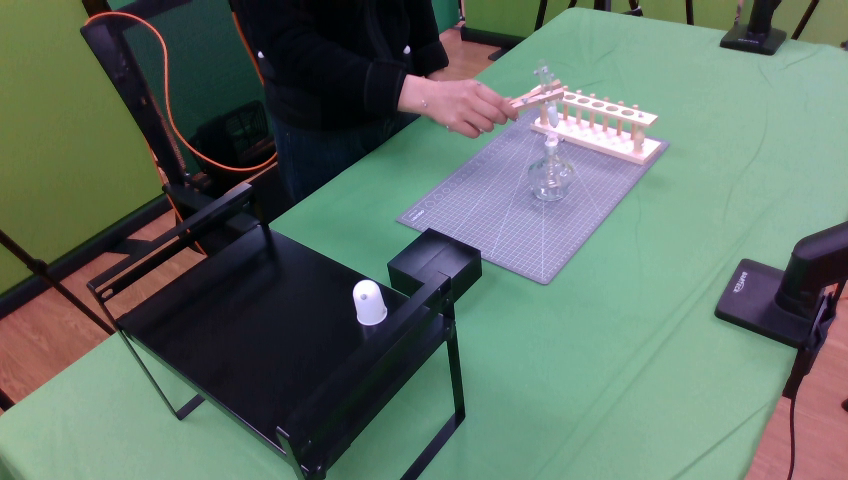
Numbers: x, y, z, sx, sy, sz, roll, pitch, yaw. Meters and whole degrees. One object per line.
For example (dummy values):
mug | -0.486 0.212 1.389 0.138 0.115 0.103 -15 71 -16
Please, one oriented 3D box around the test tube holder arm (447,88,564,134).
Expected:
test tube holder arm | 0.120 -0.192 0.900 0.178 0.015 0.013 -17 58 12

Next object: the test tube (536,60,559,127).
test tube | 0.185 -0.213 0.895 0.017 0.151 0.017 -7 65 17

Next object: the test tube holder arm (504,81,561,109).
test tube holder arm | 0.160 -0.211 0.895 0.088 0.015 0.010 -23 57 8

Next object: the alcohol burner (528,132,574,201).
alcohol burner | 0.214 -0.126 1.016 0.078 0.119 0.077 -5 39 5

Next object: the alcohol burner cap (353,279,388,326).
alcohol burner cap | -0.056 0.061 0.616 0.034 0.048 0.033 -4 41 4

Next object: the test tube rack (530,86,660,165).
test tube rack | 0.320 -0.226 1.140 0.240 0.085 0.067 27 51 34
